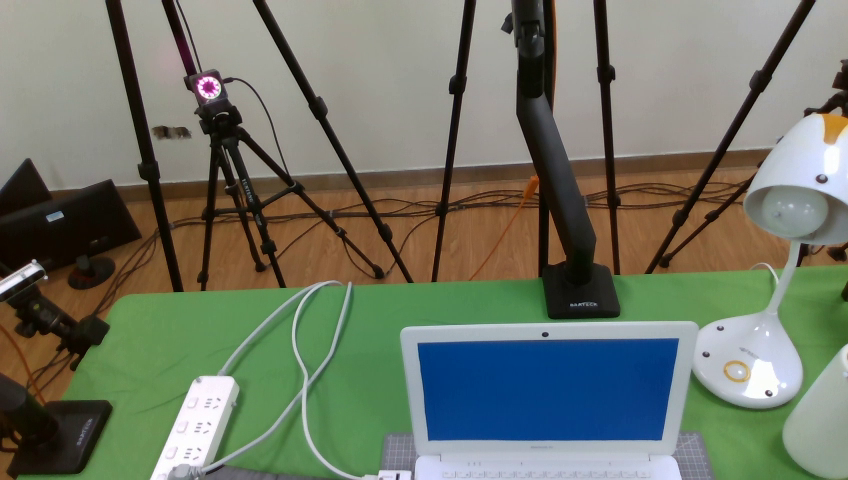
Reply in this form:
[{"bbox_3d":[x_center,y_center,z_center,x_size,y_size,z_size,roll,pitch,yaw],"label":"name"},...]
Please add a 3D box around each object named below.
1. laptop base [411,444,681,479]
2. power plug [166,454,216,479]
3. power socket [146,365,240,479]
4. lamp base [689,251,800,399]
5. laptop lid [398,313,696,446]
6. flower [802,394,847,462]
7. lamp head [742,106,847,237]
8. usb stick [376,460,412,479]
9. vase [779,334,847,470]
[{"bbox_3d":[0.155,0.368,0.758,0.354,0.023,0.233,-2,46,5],"label":"laptop base"},{"bbox_3d":[-0.319,0.319,0.832,0.072,0.053,0.035,9,45,13],"label":"power plug"},{"bbox_3d":[-0.340,0.282,0.903,0.072,0.033,0.224,1,42,7],"label":"power socket"},{"bbox_3d":[0.483,0.109,0.876,0.159,0.182,0.179,24,48,29],"label":"lamp base"},{"bbox_3d":[0.151,0.188,0.778,0.356,0.244,0.013,-3,33,6],"label":"laptop lid"},{"bbox_3d":[0.528,0.136,0.705,0.038,0.364,0.043,1,31,-16],"label":"flower"},{"bbox_3d":[0.414,-0.077,0.643,0.111,0.113,0.122,21,67,27],"label":"lamp head"},{"bbox_3d":[-0.033,0.314,0.821,0.059,0.027,0.021,3,41,4],"label":"usb stick"},{"bbox_3d":[0.519,0.202,0.756,0.098,0.202,0.097,-5,42,5],"label":"vase"}]
